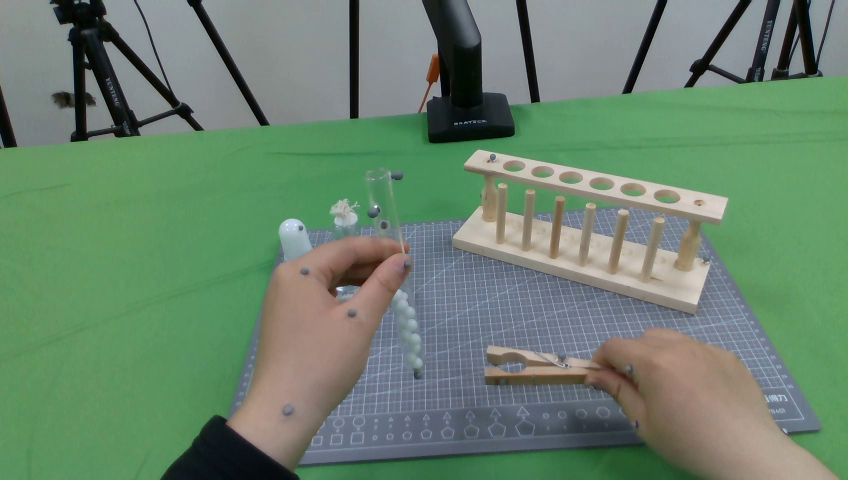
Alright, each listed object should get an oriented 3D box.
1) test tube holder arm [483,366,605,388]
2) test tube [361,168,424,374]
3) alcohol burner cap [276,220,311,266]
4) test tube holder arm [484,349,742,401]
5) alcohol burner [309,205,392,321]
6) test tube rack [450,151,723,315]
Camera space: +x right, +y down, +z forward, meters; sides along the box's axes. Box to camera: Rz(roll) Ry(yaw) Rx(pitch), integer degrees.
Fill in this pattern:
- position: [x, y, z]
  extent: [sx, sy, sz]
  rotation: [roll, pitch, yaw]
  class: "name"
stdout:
- position: [0.088, 0.101, 0.446]
  extent: [0.088, 0.015, 0.010]
  rotation: [-5, 50, 9]
  class: "test tube holder arm"
- position: [-0.018, 0.026, 0.385]
  extent: [0.017, 0.151, 0.017]
  rotation: [-7, 29, 4]
  class: "test tube"
- position: [-0.140, 0.000, 0.641]
  extent: [0.034, 0.048, 0.033]
  rotation: [-3, 39, 2]
  class: "alcohol burner cap"
- position: [0.132, 0.097, 0.439]
  extent: [0.178, 0.015, 0.013]
  rotation: [4, 53, 15]
  class: "test tube holder arm"
- position: [-0.069, 0.017, 0.551]
  extent: [0.078, 0.120, 0.077]
  rotation: [-2, 39, 2]
  class: "alcohol burner"
- position: [0.145, -0.013, 0.585]
  extent: [0.241, 0.086, 0.066]
  rotation: [16, 43, 26]
  class: "test tube rack"
